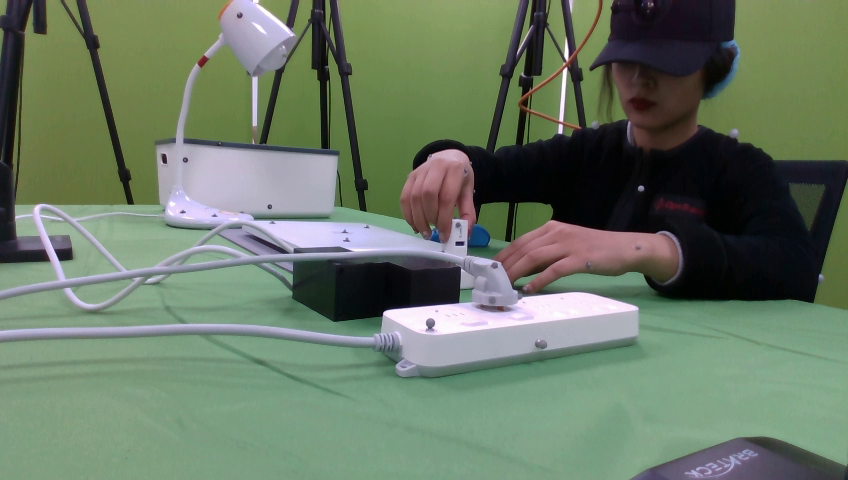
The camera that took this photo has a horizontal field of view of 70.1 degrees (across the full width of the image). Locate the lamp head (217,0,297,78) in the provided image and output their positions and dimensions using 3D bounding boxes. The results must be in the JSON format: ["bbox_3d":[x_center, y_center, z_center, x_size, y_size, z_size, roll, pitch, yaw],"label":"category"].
[{"bbox_3d":[-0.315,-0.372,1.102,0.123,0.112,0.112,41,2,-9],"label":"lamp head"}]

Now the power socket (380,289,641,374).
[{"bbox_3d":[0.072,0.064,0.461,0.228,0.032,0.072,-3,7,-30],"label":"power socket"}]

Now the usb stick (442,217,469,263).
[{"bbox_3d":[0.035,0.003,0.685,0.021,0.059,0.027,0,9,-31],"label":"usb stick"}]

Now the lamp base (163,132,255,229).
[{"bbox_3d":[-0.420,-0.116,1.156,0.179,0.180,0.160,0,7,0],"label":"lamp base"}]

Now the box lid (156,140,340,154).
[{"bbox_3d":[-0.409,-0.213,1.404,0.373,0.015,0.262,-2,8,-32],"label":"box lid"}]

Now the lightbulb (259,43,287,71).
[{"bbox_3d":[-0.295,-0.357,1.101,0.059,0.107,0.059,-38,2,2],"label":"lightbulb"}]

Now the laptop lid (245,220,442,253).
[{"bbox_3d":[-0.124,-0.009,0.945,0.243,0.013,0.355,1,7,-29],"label":"laptop lid"}]

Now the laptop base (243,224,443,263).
[{"bbox_3d":[-0.126,0.003,0.945,0.237,0.023,0.352,2,6,-31],"label":"laptop base"}]

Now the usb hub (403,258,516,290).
[{"bbox_3d":[0.042,0.038,0.690,0.126,0.025,0.049,-2,10,-30],"label":"usb hub"}]

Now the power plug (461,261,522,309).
[{"bbox_3d":[0.043,0.043,0.444,0.035,0.052,0.073,-5,8,43],"label":"power plug"}]

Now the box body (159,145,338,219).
[{"bbox_3d":[-0.410,-0.139,1.414,0.366,0.160,0.253,-3,8,-33],"label":"box body"}]

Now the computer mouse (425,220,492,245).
[{"bbox_3d":[0.060,-0.013,1.059,0.117,0.041,0.062,-3,10,-6],"label":"computer mouse"}]
